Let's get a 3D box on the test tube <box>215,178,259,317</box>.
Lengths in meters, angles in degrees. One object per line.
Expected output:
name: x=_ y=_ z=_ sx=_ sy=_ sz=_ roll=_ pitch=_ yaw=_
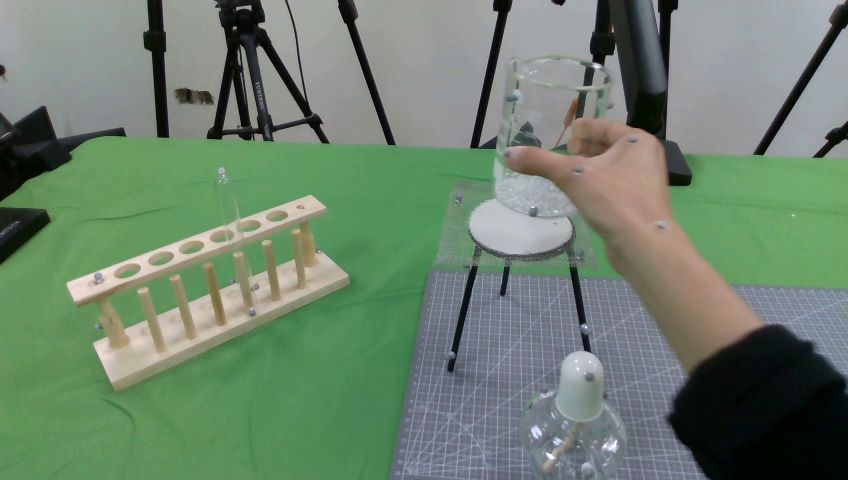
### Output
test tube: x=-0.174 y=0.011 z=0.567 sx=0.017 sy=0.151 sz=0.017 roll=0 pitch=33 yaw=1

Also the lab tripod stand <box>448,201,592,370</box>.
lab tripod stand: x=0.087 y=0.044 z=0.539 sx=0.148 sy=0.132 sz=0.147 roll=0 pitch=33 yaw=0

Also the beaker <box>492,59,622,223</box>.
beaker: x=0.088 y=-0.071 z=0.432 sx=0.074 sy=0.101 sz=0.083 roll=-11 pitch=35 yaw=-24

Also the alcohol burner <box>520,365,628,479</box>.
alcohol burner: x=0.108 y=0.128 z=0.431 sx=0.078 sy=0.120 sz=0.077 roll=-1 pitch=36 yaw=1

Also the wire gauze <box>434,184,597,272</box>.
wire gauze: x=0.076 y=-0.011 z=0.500 sx=0.121 sy=0.011 sz=0.124 roll=5 pitch=35 yaw=7

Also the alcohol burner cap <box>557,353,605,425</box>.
alcohol burner cap: x=0.108 y=0.098 z=0.411 sx=0.034 sy=0.048 sz=0.033 roll=-3 pitch=34 yaw=3

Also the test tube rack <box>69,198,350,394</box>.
test tube rack: x=-0.197 y=0.046 z=0.596 sx=0.243 sy=0.086 sz=0.066 roll=-24 pitch=40 yaw=-30
